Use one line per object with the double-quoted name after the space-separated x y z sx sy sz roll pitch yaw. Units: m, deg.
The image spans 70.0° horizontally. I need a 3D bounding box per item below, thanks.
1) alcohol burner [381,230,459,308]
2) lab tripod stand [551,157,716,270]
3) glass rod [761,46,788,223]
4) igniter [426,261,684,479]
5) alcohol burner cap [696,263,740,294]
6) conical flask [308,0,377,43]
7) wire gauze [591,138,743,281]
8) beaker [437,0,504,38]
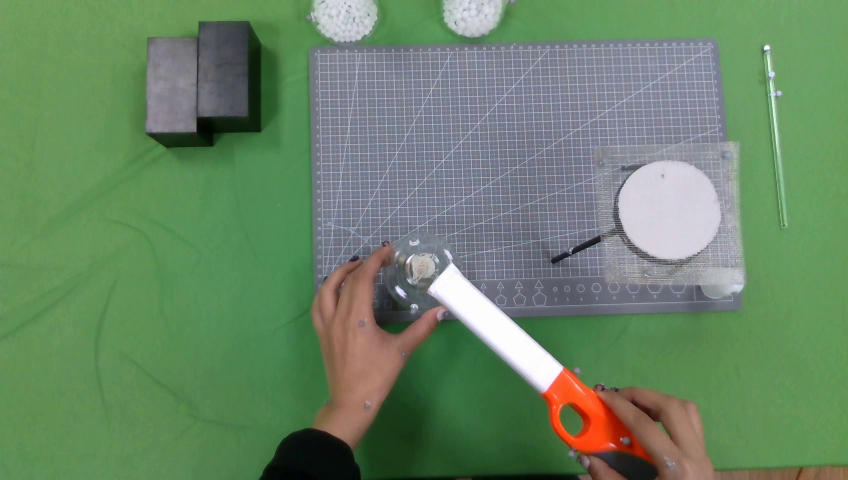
-0.004 0.027 0.580 0.078 0.119 0.077 0 85 -2 "alcohol burner"
0.202 -0.017 0.581 0.148 0.131 0.148 0 85 -1 "lab tripod stand"
0.383 -0.117 0.662 0.008 0.008 0.199 -3 84 -2 "glass rod"
0.112 0.122 0.503 0.276 0.025 0.057 43 73 1 "igniter"
0.306 0.039 0.624 0.034 0.048 0.034 0 83 -1 "alcohol burner cap"
-0.087 -0.256 0.606 0.075 0.122 0.075 0 83 -2 "conical flask"
0.207 -0.026 0.515 0.125 0.011 0.121 -1 85 -1 "wire gauze"
0.052 -0.259 0.623 0.084 0.100 0.074 34 84 2 "beaker"
